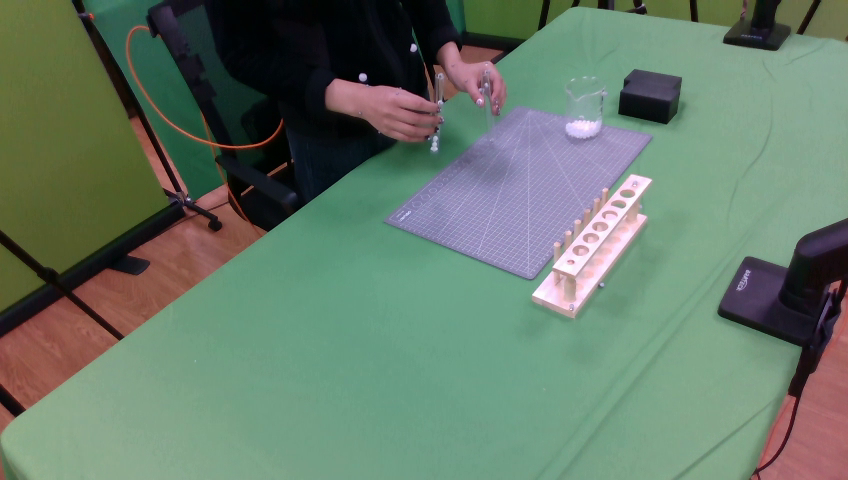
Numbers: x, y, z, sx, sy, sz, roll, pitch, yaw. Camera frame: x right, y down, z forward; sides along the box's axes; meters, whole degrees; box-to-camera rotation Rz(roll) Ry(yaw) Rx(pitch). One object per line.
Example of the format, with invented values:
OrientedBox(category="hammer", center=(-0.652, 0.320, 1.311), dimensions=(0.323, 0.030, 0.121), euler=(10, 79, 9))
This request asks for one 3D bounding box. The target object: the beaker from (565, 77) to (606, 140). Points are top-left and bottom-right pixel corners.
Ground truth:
OrientedBox(category="beaker", center=(0.304, -0.247, 1.153), dimensions=(0.073, 0.101, 0.084), euler=(15, 47, 27))

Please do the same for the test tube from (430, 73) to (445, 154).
OrientedBox(category="test tube", center=(0.022, -0.210, 1.017), dimensions=(0.017, 0.151, 0.017), euler=(3, 42, -2))

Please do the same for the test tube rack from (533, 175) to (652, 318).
OrientedBox(category="test tube rack", center=(0.251, -0.001, 0.889), dimensions=(0.066, 0.085, 0.243), euler=(22, 49, 33))

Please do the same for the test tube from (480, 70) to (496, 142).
OrientedBox(category="test tube", center=(0.118, -0.240, 1.101), dimensions=(0.017, 0.151, 0.017), euler=(-7, 46, 7))
